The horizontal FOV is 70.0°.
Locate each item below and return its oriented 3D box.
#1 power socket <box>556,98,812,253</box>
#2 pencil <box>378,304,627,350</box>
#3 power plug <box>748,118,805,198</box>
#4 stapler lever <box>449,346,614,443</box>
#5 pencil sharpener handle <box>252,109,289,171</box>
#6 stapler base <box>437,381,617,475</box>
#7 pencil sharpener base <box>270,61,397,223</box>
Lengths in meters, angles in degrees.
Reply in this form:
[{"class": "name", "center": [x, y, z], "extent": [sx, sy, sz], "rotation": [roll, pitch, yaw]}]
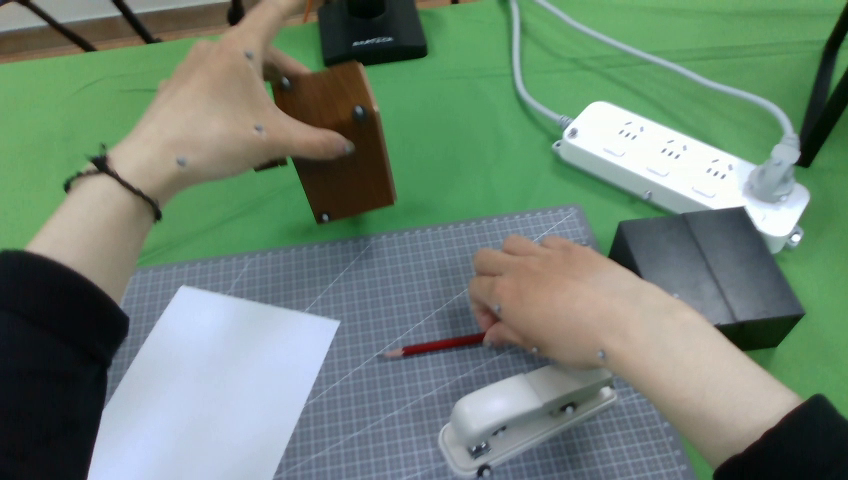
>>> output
[{"class": "power socket", "center": [0.229, -0.064, 0.546], "extent": [0.225, 0.033, 0.072], "rotation": [32, 60, 25]}, {"class": "pencil", "center": [0.061, 0.068, 0.462], "extent": [0.194, 0.012, 0.012], "rotation": [-8, 53, -5]}, {"class": "power plug", "center": [0.304, -0.061, 0.510], "extent": [0.072, 0.053, 0.035], "rotation": [-36, 59, -20]}, {"class": "stapler lever", "center": [0.072, 0.099, 0.401], "extent": [0.118, 0.040, 0.026], "rotation": [-21, 56, -14]}, {"class": "pencil sharpener handle", "center": [-0.121, -0.070, 0.458], "extent": [0.031, 0.068, 0.036], "rotation": [-16, 76, -6]}, {"class": "stapler base", "center": [0.072, 0.116, 0.420], "extent": [0.131, 0.024, 0.041], "rotation": [-21, 56, -14]}, {"class": "pencil sharpener base", "center": [-0.069, -0.072, 0.471], "extent": [0.077, 0.108, 0.060], "rotation": [-16, 55, -6]}]
